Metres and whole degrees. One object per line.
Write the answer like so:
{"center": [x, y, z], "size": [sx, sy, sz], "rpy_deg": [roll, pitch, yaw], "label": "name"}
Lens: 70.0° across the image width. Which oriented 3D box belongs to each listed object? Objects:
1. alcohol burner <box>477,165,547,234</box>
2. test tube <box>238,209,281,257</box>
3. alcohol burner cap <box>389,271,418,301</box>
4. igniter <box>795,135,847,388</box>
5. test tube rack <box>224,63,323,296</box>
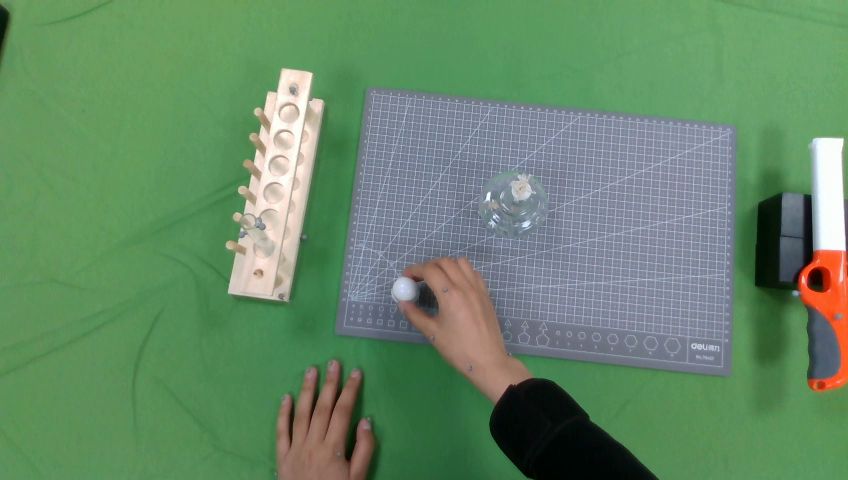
{"center": [0.097, -0.047, 0.655], "size": [0.078, 0.119, 0.077], "rpy_deg": [0, 82, 0], "label": "alcohol burner"}
{"center": [-0.163, -0.004, 0.609], "size": [0.017, 0.151, 0.017], "rpy_deg": [1, 76, -4], "label": "test tube"}
{"center": [-0.023, 0.049, 0.668], "size": [0.034, 0.048, 0.033], "rpy_deg": [0, 80, -2], "label": "alcohol burner cap"}
{"center": [0.431, 0.020, 0.652], "size": [0.057, 0.025, 0.275], "rpy_deg": [4, 80, 11], "label": "igniter"}
{"center": [-0.171, -0.065, 0.669], "size": [0.067, 0.085, 0.241], "rpy_deg": [9, 81, 0], "label": "test tube rack"}
